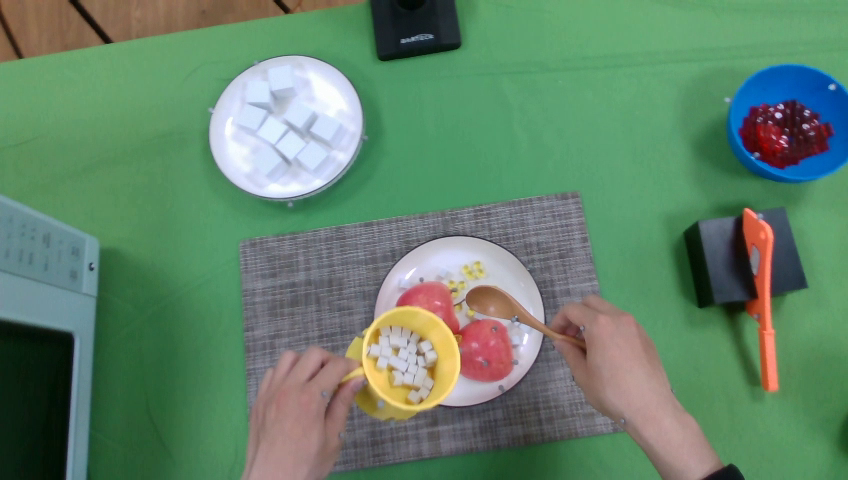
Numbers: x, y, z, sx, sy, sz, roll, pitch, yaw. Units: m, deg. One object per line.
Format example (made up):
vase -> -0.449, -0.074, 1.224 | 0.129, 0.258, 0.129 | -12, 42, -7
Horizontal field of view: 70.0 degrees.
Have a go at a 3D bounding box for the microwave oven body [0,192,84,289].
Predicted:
microwave oven body -> -0.579, 0.185, 0.640 | 0.326, 0.261, 0.439 | -5, 77, 2

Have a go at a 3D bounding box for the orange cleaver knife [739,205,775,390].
orange cleaver knife -> 0.383, 0.066, 0.702 | 0.012, 0.077, 0.212 | -7, 99, 6

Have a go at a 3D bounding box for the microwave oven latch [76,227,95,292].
microwave oven latch -> -0.438, 0.025, 0.770 | 0.030, 0.029, 0.078 | -4, 77, 2

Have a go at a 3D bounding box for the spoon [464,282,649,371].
spoon -> 0.128, 0.089, 0.608 | 0.192, 0.042, 0.021 | 25, 37, 23

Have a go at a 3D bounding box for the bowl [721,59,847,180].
bowl -> 0.435, -0.136, 0.750 | 0.151, 0.077, 0.150 | -1, 76, 4

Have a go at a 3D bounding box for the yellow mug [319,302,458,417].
yellow mug -> -0.038, 0.120, 0.584 | 0.131, 0.064, 0.099 | -12, 73, -28

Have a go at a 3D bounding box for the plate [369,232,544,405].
plate -> 0.038, 0.095, 0.737 | 0.209, 0.038, 0.208 | -1, 77, 3

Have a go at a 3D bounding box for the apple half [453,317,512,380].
apple half -> 0.067, 0.128, 0.720 | 0.081, 0.033, 0.081 | -1, 73, 3

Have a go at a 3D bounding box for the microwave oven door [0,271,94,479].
microwave oven door -> -0.431, 0.212, 0.619 | 0.039, 0.245, 0.354 | -6, 76, 3

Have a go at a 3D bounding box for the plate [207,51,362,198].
plate -> -0.184, -0.153, 0.816 | 0.207, 0.039, 0.206 | -1, 76, 4

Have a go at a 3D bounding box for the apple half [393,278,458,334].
apple half -> -0.001, 0.084, 0.726 | 0.074, 0.053, 0.080 | -11, 76, 4
